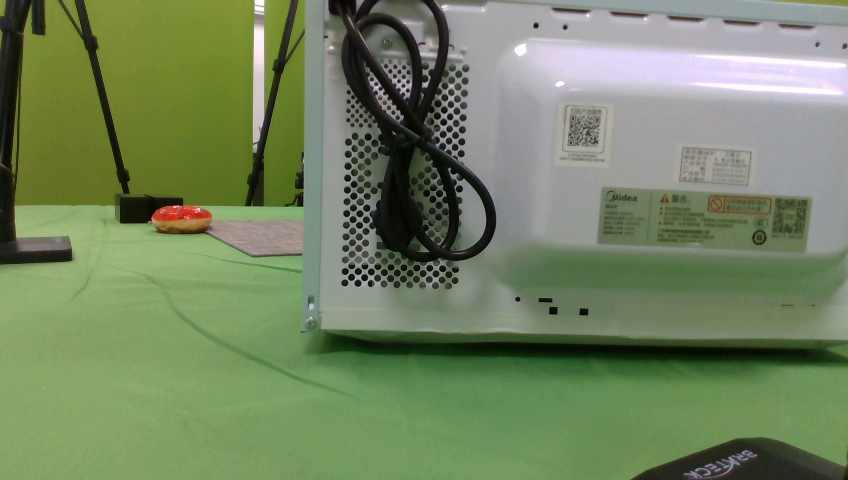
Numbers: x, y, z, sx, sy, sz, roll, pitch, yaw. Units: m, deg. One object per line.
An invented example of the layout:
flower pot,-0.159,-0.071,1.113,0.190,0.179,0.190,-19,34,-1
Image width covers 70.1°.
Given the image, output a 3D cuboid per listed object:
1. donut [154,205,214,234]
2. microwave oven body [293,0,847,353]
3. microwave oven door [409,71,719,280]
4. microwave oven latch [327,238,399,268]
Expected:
donut,-0.426,-0.037,1.075,0.099,0.048,0.099,2,12,0
microwave oven body,0.122,-0.055,0.550,0.442,0.260,0.325,3,7,-5
microwave oven door,0.161,-0.085,0.747,0.355,0.243,0.039,4,7,13
microwave oven latch,-0.069,0.015,0.694,0.079,0.029,0.030,3,7,-3
